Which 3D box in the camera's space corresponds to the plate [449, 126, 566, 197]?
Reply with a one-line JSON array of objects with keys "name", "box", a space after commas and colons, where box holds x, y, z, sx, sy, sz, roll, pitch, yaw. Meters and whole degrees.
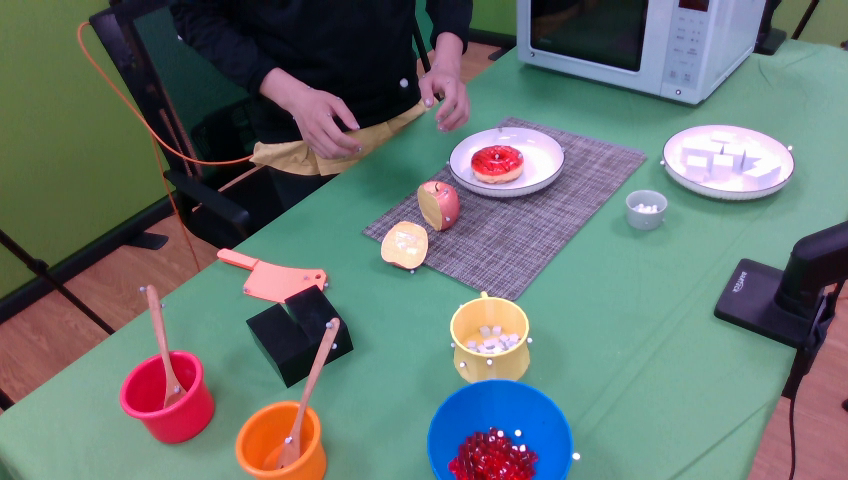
[{"name": "plate", "box": [0.150, -0.138, 1.097, 0.209, 0.038, 0.208, -4, 40, 4]}]

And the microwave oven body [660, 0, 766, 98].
[{"name": "microwave oven body", "box": [0.472, -0.513, 1.317, 0.438, 0.261, 0.327, 26, 51, 34]}]

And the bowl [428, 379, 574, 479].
[{"name": "bowl", "box": [0.082, 0.233, 0.644, 0.151, 0.077, 0.150, -4, 39, 4]}]

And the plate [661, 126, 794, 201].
[{"name": "plate", "box": [0.513, -0.128, 1.035, 0.207, 0.039, 0.206, -4, 40, 4]}]

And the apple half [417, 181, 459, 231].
[{"name": "apple half", "box": [0.030, -0.060, 0.995, 0.053, 0.075, 0.080, -23, 39, -22]}]

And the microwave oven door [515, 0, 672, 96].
[{"name": "microwave oven door", "box": [0.344, -0.455, 1.259, 0.353, 0.245, 0.039, 26, 51, 33]}]

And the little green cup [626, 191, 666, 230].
[{"name": "little green cup", "box": [0.352, -0.046, 0.963, 0.061, 0.039, 0.061, -4, 40, 4]}]

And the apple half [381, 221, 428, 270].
[{"name": "apple half", "box": [-0.025, 0.012, 0.946, 0.081, 0.033, 0.081, -5, 73, 16]}]

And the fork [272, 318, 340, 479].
[{"name": "fork", "box": [-0.131, 0.186, 0.676, 0.028, 0.019, 0.207, 17, 90, 28]}]

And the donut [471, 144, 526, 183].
[{"name": "donut", "box": [0.133, -0.139, 1.083, 0.099, 0.048, 0.098, -5, 38, 5]}]

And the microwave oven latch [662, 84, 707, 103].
[{"name": "microwave oven latch", "box": [0.517, -0.296, 1.204, 0.078, 0.029, 0.030, 27, 52, 35]}]

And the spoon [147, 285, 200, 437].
[{"name": "spoon", "box": [-0.318, 0.148, 0.754, 0.042, 0.021, 0.193, -15, 85, -10]}]

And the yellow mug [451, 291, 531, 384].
[{"name": "yellow mug", "box": [0.085, 0.120, 0.786, 0.100, 0.064, 0.130, -7, 39, 1]}]

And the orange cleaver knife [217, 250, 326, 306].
[{"name": "orange cleaver knife", "box": [-0.248, 0.059, 0.945, 0.210, 0.012, 0.077, 12, 49, 20]}]
